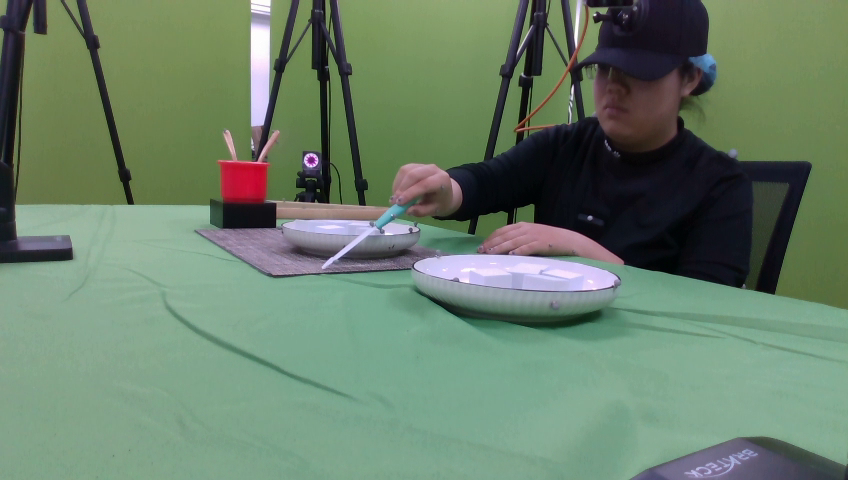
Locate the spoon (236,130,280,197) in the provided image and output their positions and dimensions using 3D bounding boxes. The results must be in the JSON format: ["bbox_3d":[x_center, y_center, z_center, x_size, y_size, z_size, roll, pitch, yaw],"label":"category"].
[{"bbox_3d":[-0.321,-0.153,1.192,0.041,0.193,0.022,1,-37,19],"label":"spoon"}]

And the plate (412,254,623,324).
[{"bbox_3d":[0.090,0.047,0.609,0.209,0.038,0.209,2,7,0],"label":"plate"}]

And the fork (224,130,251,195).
[{"bbox_3d":[-0.372,-0.155,1.193,0.028,0.018,0.206,-17,54,-14],"label":"fork"}]

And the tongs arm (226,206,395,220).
[{"bbox_3d":[-0.248,-0.061,1.381,0.389,0.028,0.028,0,6,-21],"label":"tongs arm"}]

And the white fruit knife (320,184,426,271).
[{"bbox_3d":[-0.061,-0.019,0.792,0.027,0.016,0.208,-10,26,50],"label":"white fruit knife"}]

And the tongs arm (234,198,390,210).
[{"bbox_3d":[-0.264,-0.076,1.460,0.386,0.026,0.050,3,8,-8],"label":"tongs arm"}]

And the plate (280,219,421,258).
[{"bbox_3d":[-0.108,-0.002,0.901,0.208,0.039,0.207,3,7,0],"label":"plate"}]
